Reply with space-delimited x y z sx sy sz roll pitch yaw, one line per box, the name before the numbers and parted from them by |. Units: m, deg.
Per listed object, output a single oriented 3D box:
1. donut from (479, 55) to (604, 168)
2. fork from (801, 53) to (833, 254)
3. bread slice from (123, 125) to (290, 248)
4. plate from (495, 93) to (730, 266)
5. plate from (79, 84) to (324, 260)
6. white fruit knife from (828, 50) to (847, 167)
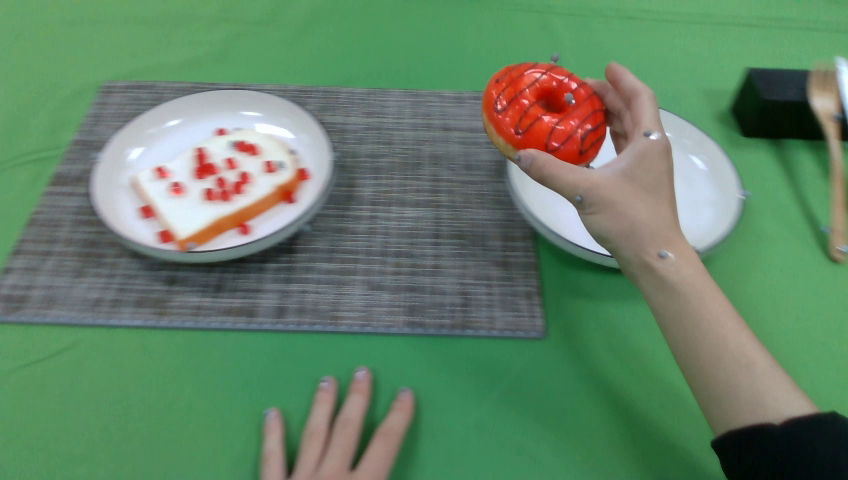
donut | 0.088 -0.098 0.457 0.099 0.048 0.098 8 58 -13
fork | 0.369 -0.085 0.563 0.028 0.019 0.206 10 70 0
bread slice | -0.192 -0.058 0.547 0.131 0.019 0.104 -33 61 -23
plate | 0.168 -0.056 0.560 0.208 0.039 0.205 1 52 -1
plate | -0.194 -0.062 0.548 0.209 0.038 0.207 1 53 -1
white fruit knife | 0.410 -0.095 0.575 0.027 0.016 0.206 2 69 -3
